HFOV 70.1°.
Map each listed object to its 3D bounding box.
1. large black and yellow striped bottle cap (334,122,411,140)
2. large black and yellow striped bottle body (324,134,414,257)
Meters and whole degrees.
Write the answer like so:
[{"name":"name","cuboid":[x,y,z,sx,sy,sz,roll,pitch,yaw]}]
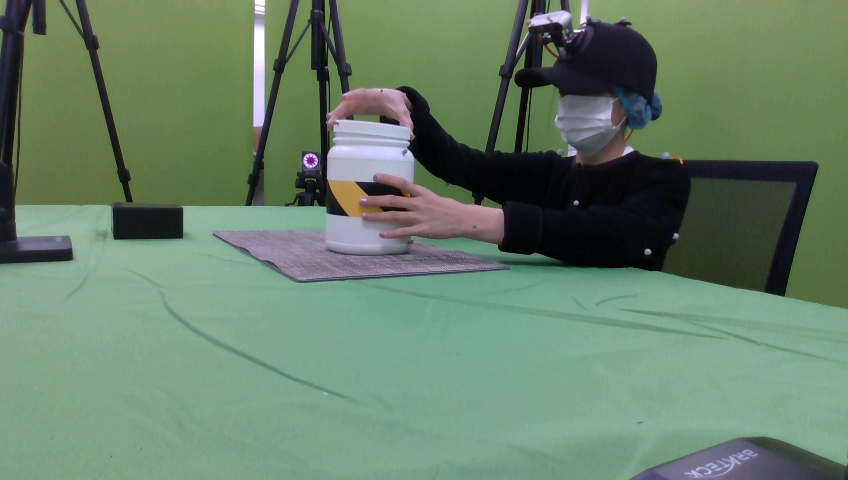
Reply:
[{"name":"large black and yellow striped bottle cap","cuboid":[-0.076,-0.161,0.893,0.115,0.019,0.115,4,8,0]},{"name":"large black and yellow striped bottle body","cuboid":[-0.081,-0.074,0.904,0.131,0.184,0.130,3,7,0]}]
